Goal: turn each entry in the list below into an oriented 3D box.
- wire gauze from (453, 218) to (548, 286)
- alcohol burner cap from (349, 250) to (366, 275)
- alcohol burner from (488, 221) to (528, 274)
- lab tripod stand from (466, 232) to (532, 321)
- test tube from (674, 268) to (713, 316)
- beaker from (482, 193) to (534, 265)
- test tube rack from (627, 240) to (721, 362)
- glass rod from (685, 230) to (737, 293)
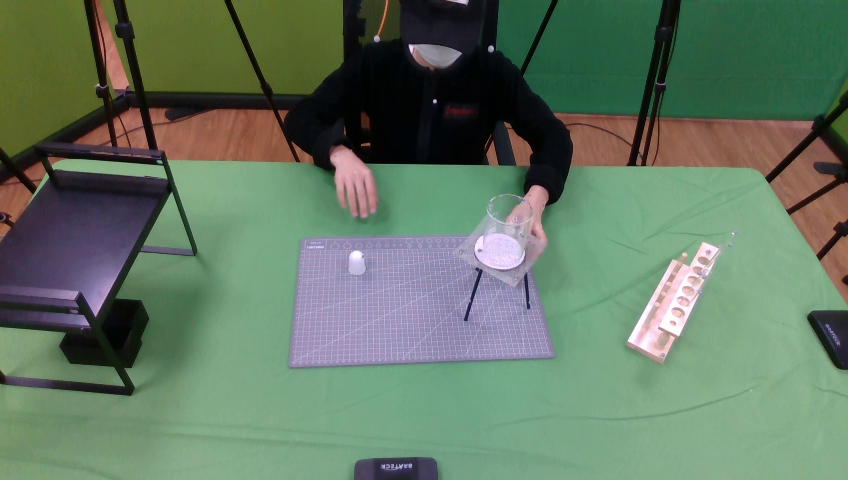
[{"bbox_3d":[0.129,0.014,1.018,0.124,0.011,0.121,26,47,25],"label":"wire gauze"},{"bbox_3d":[-0.126,0.039,1.132,0.034,0.048,0.033,2,46,-2],"label":"alcohol burner cap"},{"bbox_3d":[0.158,0.007,1.132,0.078,0.120,0.077,1,49,-1],"label":"alcohol burner"},{"bbox_3d":[0.125,0.060,1.065,0.148,0.132,0.147,0,45,0],"label":"lab tripod stand"},{"bbox_3d":[0.445,0.098,1.017,0.017,0.151,0.017,4,49,-4],"label":"test tube"},{"bbox_3d":[0.135,-0.016,0.979,0.073,0.101,0.084,35,52,28],"label":"beaker"},{"bbox_3d":[0.452,0.098,1.087,0.066,0.085,0.242,28,51,22],"label":"test tube rack"},{"bbox_3d":[0.495,0.042,1.051,0.008,0.200,0.008,2,55,-2],"label":"glass rod"}]
